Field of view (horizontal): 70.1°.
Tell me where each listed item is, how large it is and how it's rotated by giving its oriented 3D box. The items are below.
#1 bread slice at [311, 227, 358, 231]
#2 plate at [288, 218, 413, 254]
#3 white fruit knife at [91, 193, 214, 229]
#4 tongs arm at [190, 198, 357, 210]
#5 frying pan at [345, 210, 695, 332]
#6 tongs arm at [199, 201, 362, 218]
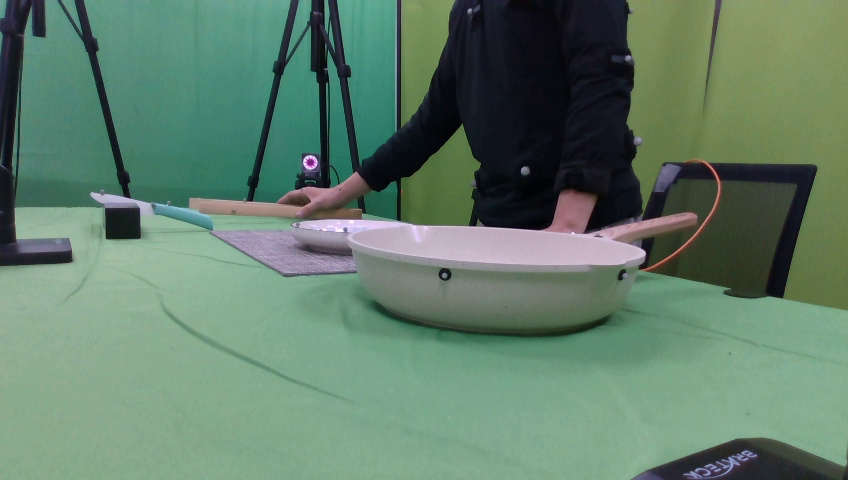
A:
[{"bbox_3d":[-0.115,-0.005,0.950,0.134,0.018,0.107,3,6,-7],"label":"bread slice"},{"bbox_3d":[-0.109,-0.007,0.956,0.208,0.039,0.207,2,7,0],"label":"plate"},{"bbox_3d":[-0.478,-0.055,1.077,0.208,0.027,0.016,14,-1,-30],"label":"white fruit knife"},{"bbox_3d":[-0.334,-0.074,1.402,0.387,0.026,0.050,2,4,-27],"label":"tongs arm"},{"bbox_3d":[0.153,0.009,0.668,0.490,0.102,0.305,-12,15,-32],"label":"frying pan"},{"bbox_3d":[-0.300,-0.067,1.342,0.390,0.027,0.028,0,1,-36],"label":"tongs arm"}]
